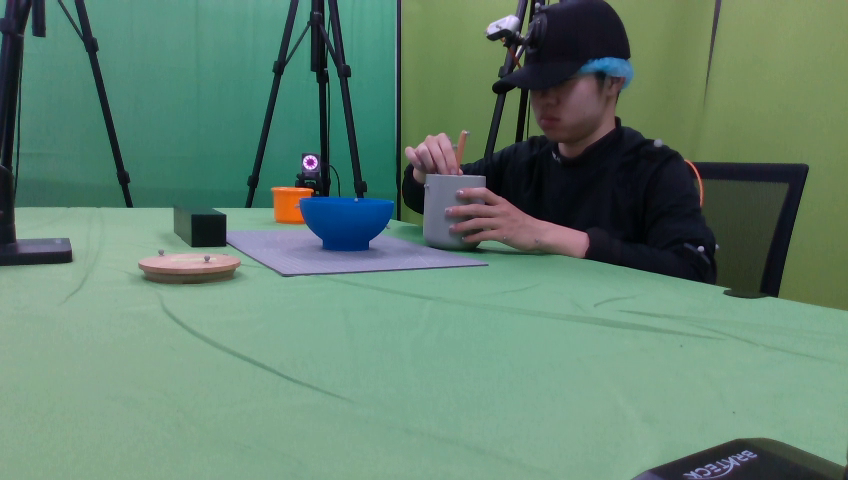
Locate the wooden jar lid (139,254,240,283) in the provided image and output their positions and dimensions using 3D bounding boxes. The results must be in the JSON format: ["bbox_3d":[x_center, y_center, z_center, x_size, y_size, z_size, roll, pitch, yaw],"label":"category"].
[{"bbox_3d":[-0.269,0.032,0.697,0.108,0.020,0.108,2,5,0],"label":"wooden jar lid"}]

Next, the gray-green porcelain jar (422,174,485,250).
[{"bbox_3d":[0.050,-0.049,1.040,0.106,0.126,0.106,2,8,0],"label":"gray-green porcelain jar"}]

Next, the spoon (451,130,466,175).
[{"bbox_3d":[0.041,-0.091,1.022,0.022,0.193,0.041,18,0,-41],"label":"spoon"}]

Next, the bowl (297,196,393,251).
[{"bbox_3d":[-0.125,-0.026,0.957,0.151,0.077,0.151,2,7,0],"label":"bowl"}]
